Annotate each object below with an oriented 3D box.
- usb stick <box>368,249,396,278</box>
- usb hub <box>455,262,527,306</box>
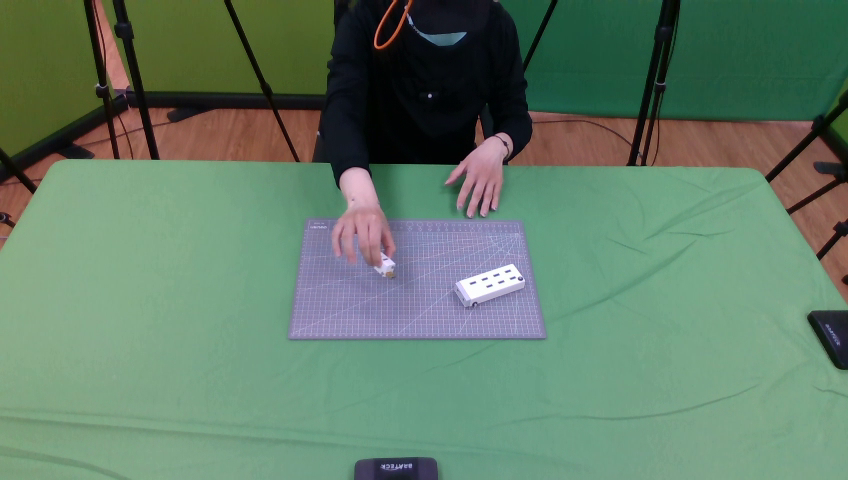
[{"bbox_3d":[-0.069,0.043,1.063,0.059,0.027,0.021,42,30,23],"label":"usb stick"},{"bbox_3d":[0.124,0.081,1.117,0.125,0.025,0.049,-17,50,-18],"label":"usb hub"}]
